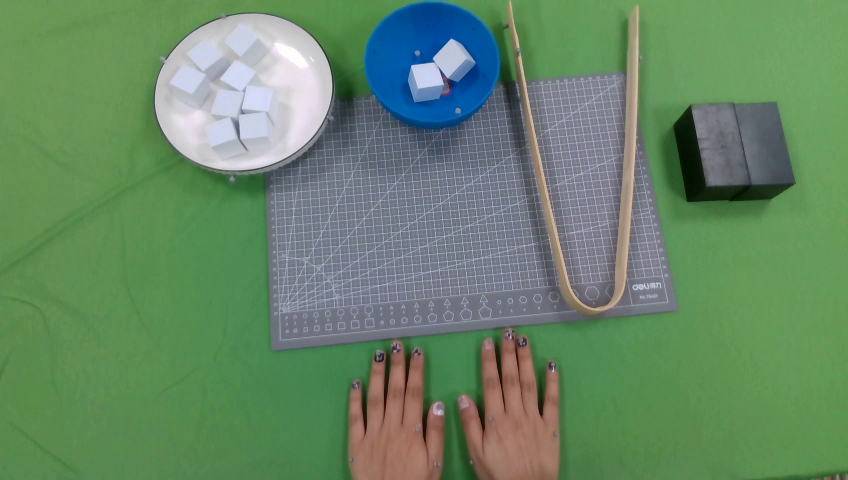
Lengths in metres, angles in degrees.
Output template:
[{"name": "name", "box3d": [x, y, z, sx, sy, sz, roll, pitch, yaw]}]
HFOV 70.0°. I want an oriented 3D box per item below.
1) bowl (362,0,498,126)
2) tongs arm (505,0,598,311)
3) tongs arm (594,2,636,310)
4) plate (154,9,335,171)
[{"name": "bowl", "box3d": [0.007, -0.190, 0.702, 0.151, 0.077, 0.150, 0, 75, -1]}, {"name": "tongs arm", "box3d": [0.144, -0.107, 0.703, 0.051, 0.026, 0.382, -4, 76, -6]}, {"name": "tongs arm", "box3d": [0.228, -0.107, 0.707, 0.028, 0.028, 0.385, 10, 75, -5]}, {"name": "plate", "box3d": [-0.207, -0.174, 0.716, 0.208, 0.039, 0.206, 0, 75, 0]}]
